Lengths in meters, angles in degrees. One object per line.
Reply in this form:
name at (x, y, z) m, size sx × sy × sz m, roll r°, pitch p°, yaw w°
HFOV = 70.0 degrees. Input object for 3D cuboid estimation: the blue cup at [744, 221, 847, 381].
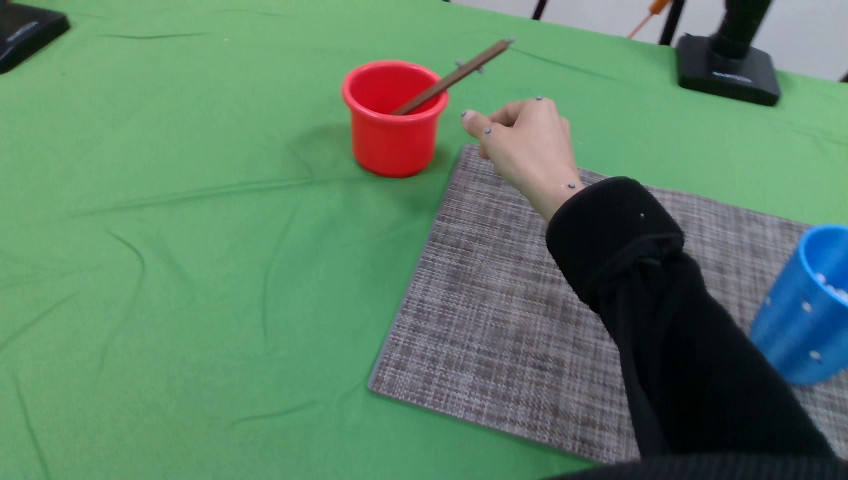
blue cup at (0.285, 0.051, 0.438) m, size 0.093 × 0.101 × 0.091 m, roll 4°, pitch 47°, yaw -4°

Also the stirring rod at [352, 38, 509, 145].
stirring rod at (0.001, -0.135, 0.562) m, size 0.176 × 0.006 × 0.014 m, roll -28°, pitch 48°, yaw 23°
